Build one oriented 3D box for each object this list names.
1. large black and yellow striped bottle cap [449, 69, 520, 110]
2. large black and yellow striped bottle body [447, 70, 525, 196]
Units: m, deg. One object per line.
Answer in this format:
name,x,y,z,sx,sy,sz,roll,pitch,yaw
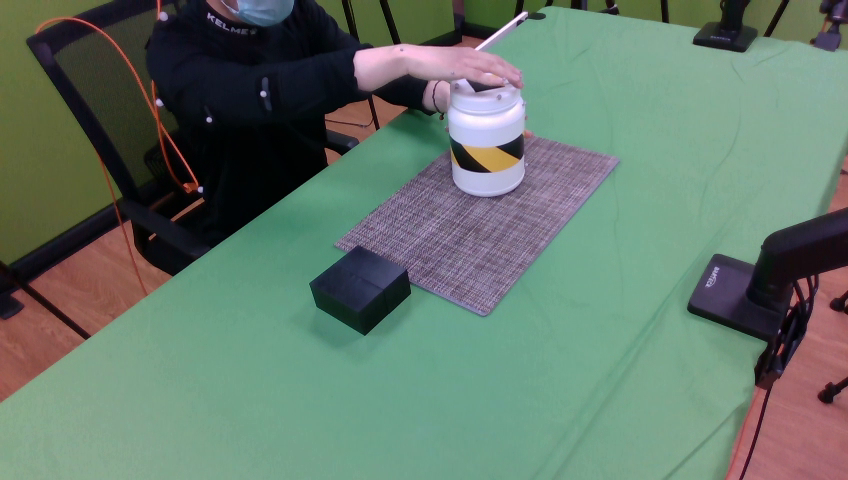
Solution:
large black and yellow striped bottle cap,0.098,-0.246,0.981,0.115,0.019,0.114,-3,40,3
large black and yellow striped bottle body,0.108,-0.183,1.035,0.131,0.185,0.130,-4,41,4
